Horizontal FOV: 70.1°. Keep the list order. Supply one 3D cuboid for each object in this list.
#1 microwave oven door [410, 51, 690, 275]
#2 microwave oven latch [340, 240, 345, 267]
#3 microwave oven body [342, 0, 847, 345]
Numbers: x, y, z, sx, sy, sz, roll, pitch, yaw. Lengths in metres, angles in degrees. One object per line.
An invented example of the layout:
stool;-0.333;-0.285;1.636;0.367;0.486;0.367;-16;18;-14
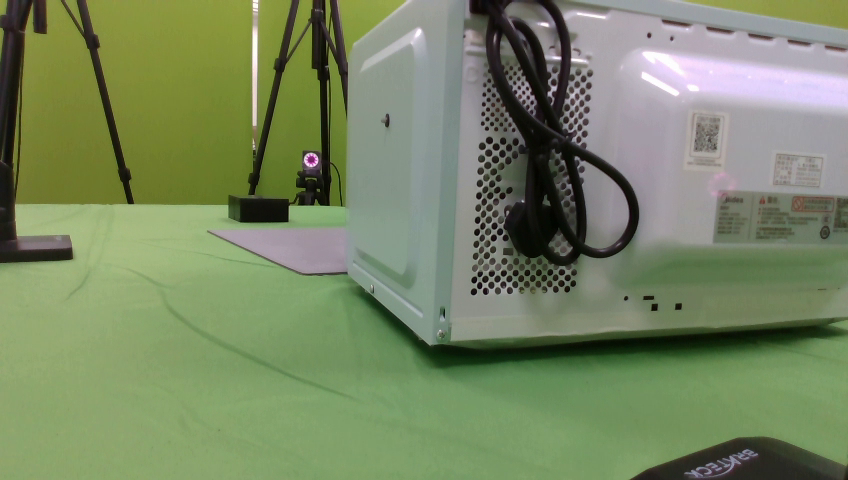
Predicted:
microwave oven door;0.161;-0.084;0.723;0.357;0.243;0.039;0;8;-20
microwave oven latch;-0.052;0.016;0.661;0.079;0.029;0.030;1;7;-17
microwave oven body;0.169;-0.059;0.573;0.444;0.260;0.324;1;7;-20
